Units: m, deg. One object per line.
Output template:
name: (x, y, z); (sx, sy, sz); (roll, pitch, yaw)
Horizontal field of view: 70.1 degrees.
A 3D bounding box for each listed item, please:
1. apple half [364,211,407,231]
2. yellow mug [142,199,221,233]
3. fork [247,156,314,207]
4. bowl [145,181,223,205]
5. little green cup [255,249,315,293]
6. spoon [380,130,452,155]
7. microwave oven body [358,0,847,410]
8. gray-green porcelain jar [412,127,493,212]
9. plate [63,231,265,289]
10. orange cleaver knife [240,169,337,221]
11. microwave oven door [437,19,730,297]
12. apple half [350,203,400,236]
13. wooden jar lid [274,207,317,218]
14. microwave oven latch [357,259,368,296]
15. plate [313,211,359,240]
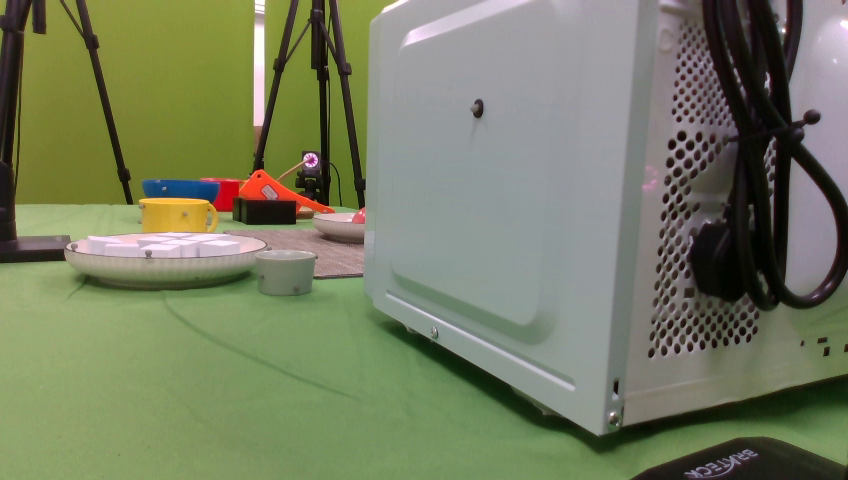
apple half: (-0.068, -0.037, 1.104); (0.081, 0.033, 0.081); (-1, 9, 0)
yellow mug: (-0.373, -0.030, 0.948); (0.099, 0.064, 0.131); (6, 7, 30)
fork: (-0.360, -0.147, 1.523); (0.207, 0.018, 0.028); (-43, 16, -7)
bowl: (-0.499, -0.081, 1.261); (0.151, 0.077, 0.151); (2, 8, 0)
little green cup: (-0.144, 0.031, 0.627); (0.061, 0.038, 0.061); (2, 6, 0)
spoon: (-0.020, -0.181, 1.099); (0.042, 0.021, 0.192); (-10, 27, -39)
microwave oven body: (0.210, -0.051, 0.471); (0.444, 0.260, 0.324); (-1, 7, -28)
gray-green porcelain jar: (0.056, -0.122, 1.084); (0.106, 0.126, 0.106); (-32, 14, 9)
plate: (-0.288, 0.021, 0.687); (0.208, 0.039, 0.207); (2, 8, 0)
orange cleaver knife: (-0.287, -0.081, 1.298); (0.212, 0.077, 0.012); (25, -3, -31)
microwave oven door: (0.181, -0.076, 0.618); (0.358, 0.243, 0.039); (-2, 9, -28)
apple half: (-0.081, -0.036, 1.024); (0.081, 0.053, 0.074); (-2, 11, -33)
wooden jar lid: (-0.303, -0.065, 1.409); (0.108, 0.020, 0.108); (3, 9, 0)
microwave oven latch: (-0.019, 0.031, 0.528); (0.079, 0.029, 0.030); (-1, 7, -25)
plate: (-0.090, -0.026, 1.063); (0.209, 0.038, 0.209); (2, 7, 0)
